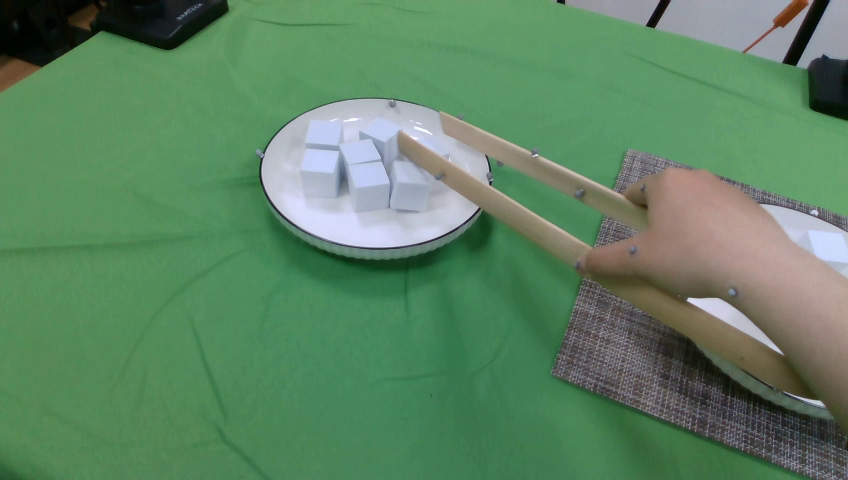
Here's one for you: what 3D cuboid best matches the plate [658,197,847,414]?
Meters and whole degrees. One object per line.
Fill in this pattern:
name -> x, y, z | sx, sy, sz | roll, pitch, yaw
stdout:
plate -> 0.292, 0.049, 0.492 | 0.208, 0.039, 0.205 | 3, 48, -3

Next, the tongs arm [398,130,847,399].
tongs arm -> 0.104, -0.005, 0.438 | 0.028, 0.028, 0.383 | -30, 46, -30

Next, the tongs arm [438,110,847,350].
tongs arm -> 0.128, -0.020, 0.452 | 0.051, 0.027, 0.381 | -34, 48, -28

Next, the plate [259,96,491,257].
plate -> -0.043, -0.058, 0.559 | 0.209, 0.038, 0.207 | 3, 48, -3
